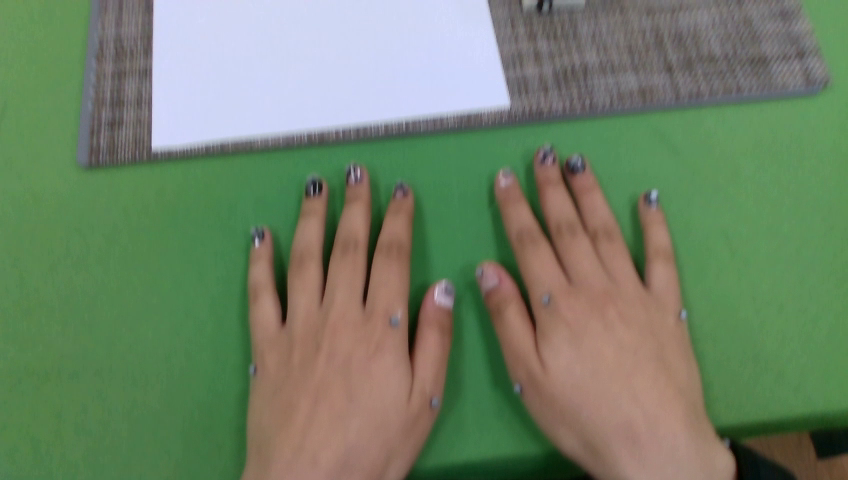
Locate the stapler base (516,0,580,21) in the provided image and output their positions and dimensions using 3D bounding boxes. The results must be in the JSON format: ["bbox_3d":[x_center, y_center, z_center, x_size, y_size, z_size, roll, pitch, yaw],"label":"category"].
[{"bbox_3d":[0.078,-0.207,0.408,0.041,0.024,0.129,-4,70,1],"label":"stapler base"}]
